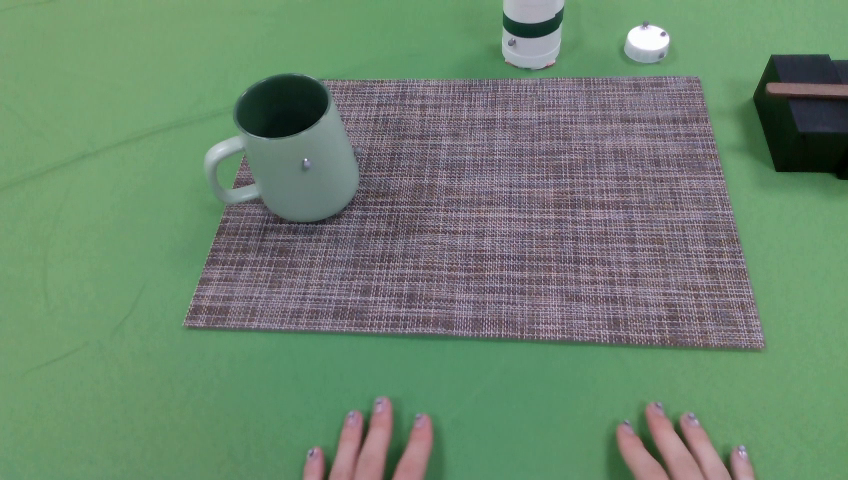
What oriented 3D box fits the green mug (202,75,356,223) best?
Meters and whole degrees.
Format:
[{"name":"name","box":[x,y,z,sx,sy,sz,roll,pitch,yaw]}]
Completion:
[{"name":"green mug","box":[-0.125,-0.069,0.520,0.125,0.106,0.091,-26,56,-12]}]

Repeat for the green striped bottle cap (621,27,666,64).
[{"name":"green striped bottle cap","box":[0.232,-0.206,0.641,0.044,0.020,0.044,-3,51,4]}]

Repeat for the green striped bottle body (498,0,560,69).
[{"name":"green striped bottle body","box":[0.107,-0.240,0.614,0.063,0.120,0.062,-3,54,4]}]

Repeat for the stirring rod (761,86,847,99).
[{"name":"stirring rod","box":[0.380,-0.125,0.514,0.176,0.006,0.014,2,55,8]}]
